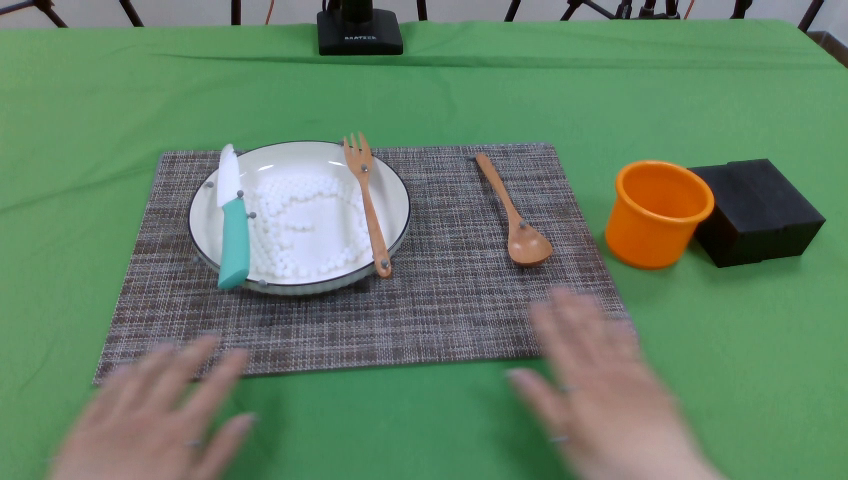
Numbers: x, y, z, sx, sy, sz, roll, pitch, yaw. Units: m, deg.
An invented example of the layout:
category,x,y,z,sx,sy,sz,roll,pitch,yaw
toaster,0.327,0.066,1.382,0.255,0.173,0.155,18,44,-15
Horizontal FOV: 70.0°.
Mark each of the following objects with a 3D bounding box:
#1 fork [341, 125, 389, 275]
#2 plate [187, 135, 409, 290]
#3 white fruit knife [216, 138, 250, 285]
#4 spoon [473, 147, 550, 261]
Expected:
category,x,y,z,sx,sy,sz,roll,pitch,yaw
fork,-0.057,-0.045,0.584,0.028,0.019,0.205,-13,46,-4
plate,-0.118,-0.028,0.591,0.209,0.038,0.207,2,45,-2
white fruit knife,-0.180,-0.037,0.565,0.027,0.016,0.205,-11,46,-10
spoon,0.084,-0.045,0.636,0.041,0.022,0.191,-20,48,1
